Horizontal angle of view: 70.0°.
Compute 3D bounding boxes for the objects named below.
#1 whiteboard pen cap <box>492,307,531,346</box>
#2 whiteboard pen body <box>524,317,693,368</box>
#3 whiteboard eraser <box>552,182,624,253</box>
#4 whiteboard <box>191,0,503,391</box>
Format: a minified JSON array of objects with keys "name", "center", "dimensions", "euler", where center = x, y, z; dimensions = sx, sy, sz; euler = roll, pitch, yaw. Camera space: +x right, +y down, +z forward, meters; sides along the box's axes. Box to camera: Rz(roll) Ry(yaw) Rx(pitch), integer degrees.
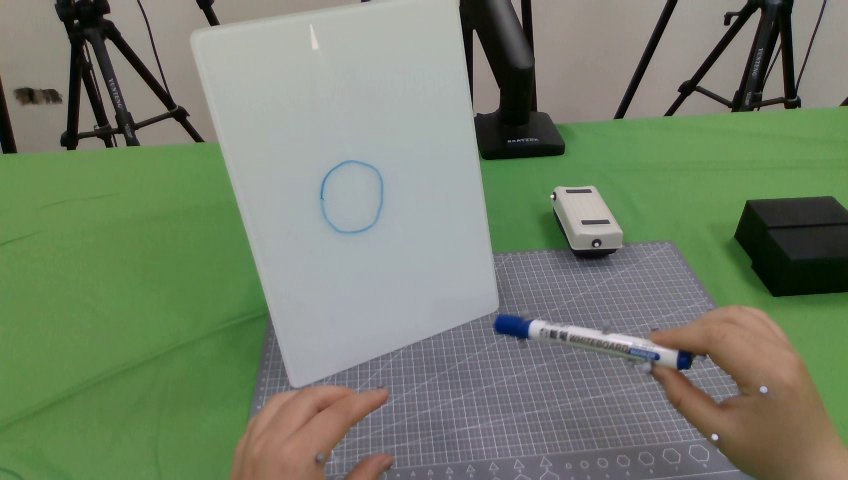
[{"name":"whiteboard pen cap","center":[0.067,0.067,0.466],"dimensions":[0.018,0.033,0.018],"euler":[20,42,-19]},{"name":"whiteboard pen body","center":[0.116,0.069,0.428],"dimensions":[0.140,0.017,0.017],"euler":[6,34,40]},{"name":"whiteboard eraser","center":[0.186,-0.027,0.697],"dimensions":[0.055,0.042,0.111],"euler":[-4,34,-1]},{"name":"whiteboard","center":[-0.070,-0.057,0.573],"dimensions":[0.218,0.307,0.142],"euler":[-18,22,-20]}]
